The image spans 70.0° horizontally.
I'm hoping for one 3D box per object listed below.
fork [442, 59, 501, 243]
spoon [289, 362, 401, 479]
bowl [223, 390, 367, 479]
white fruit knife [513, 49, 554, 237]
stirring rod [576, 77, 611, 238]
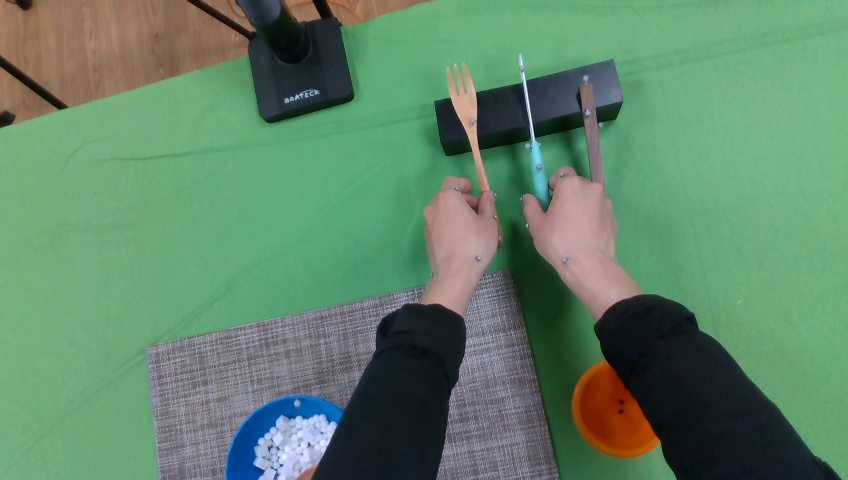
[{"bbox_3d":[0.056,-0.095,0.672,0.028,0.018,0.208,-14,99,8],"label":"fork"},{"bbox_3d":[-0.078,0.198,0.608,0.041,0.021,0.194,38,107,6],"label":"spoon"},{"bbox_3d":[-0.125,0.234,0.644,0.151,0.077,0.151,-2,80,9],"label":"bowl"},{"bbox_3d":[0.117,-0.104,0.662,0.016,0.027,0.207,-11,96,4],"label":"white fruit knife"},{"bbox_3d":[0.185,-0.088,0.660,0.014,0.006,0.176,-10,99,6],"label":"stirring rod"}]
